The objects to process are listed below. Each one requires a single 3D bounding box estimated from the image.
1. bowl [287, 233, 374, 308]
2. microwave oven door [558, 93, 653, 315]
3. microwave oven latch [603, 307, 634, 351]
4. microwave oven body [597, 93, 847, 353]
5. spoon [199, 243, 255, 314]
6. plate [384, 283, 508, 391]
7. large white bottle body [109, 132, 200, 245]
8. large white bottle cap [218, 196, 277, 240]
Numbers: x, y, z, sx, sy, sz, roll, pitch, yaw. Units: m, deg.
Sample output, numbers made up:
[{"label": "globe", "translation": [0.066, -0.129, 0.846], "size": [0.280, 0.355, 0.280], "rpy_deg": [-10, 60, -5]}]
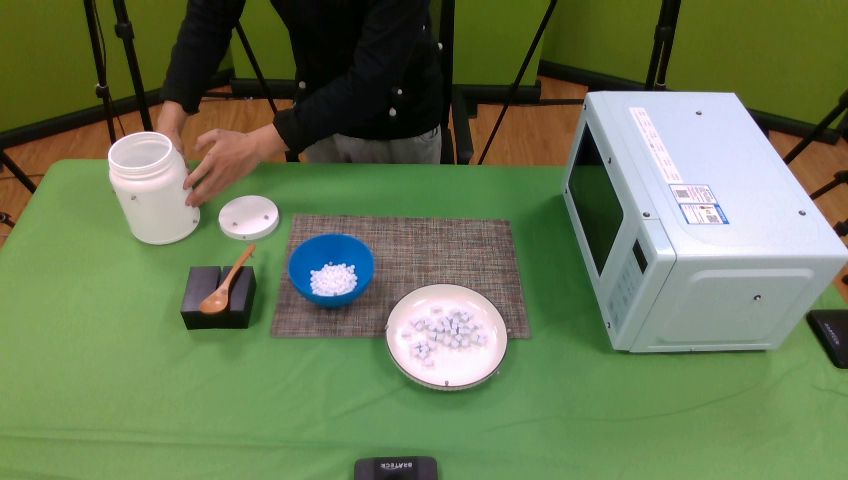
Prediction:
[{"label": "bowl", "translation": [-0.165, 0.068, 1.078], "size": [0.151, 0.077, 0.150], "rpy_deg": [3, 46, -2]}, {"label": "microwave oven door", "translation": [0.327, -0.074, 1.123], "size": [0.039, 0.245, 0.353], "rpy_deg": [-1, 46, -5]}, {"label": "microwave oven latch", "translation": [0.332, 0.153, 1.044], "size": [0.030, 0.029, 0.078], "rpy_deg": [0, 45, -4]}, {"label": "microwave oven body", "translation": [0.475, -0.041, 1.109], "size": [0.326, 0.261, 0.438], "rpy_deg": [-1, 45, -4]}, {"label": "spoon", "translation": [-0.333, 0.062, 1.051], "size": [0.041, 0.022, 0.193], "rpy_deg": [6, 40, 9]}, {"label": "plate", "translation": [0.036, 0.166, 1.029], "size": [0.209, 0.038, 0.208], "rpy_deg": [2, 49, -2]}, {"label": "large white bottle body", "translation": [-0.506, -0.097, 1.141], "size": [0.131, 0.185, 0.130], "rpy_deg": [2, 46, -2]}, {"label": "large white bottle cap", "translation": [-0.354, -0.045, 1.220], "size": [0.115, 0.018, 0.114], "rpy_deg": [2, 45, -2]}]
